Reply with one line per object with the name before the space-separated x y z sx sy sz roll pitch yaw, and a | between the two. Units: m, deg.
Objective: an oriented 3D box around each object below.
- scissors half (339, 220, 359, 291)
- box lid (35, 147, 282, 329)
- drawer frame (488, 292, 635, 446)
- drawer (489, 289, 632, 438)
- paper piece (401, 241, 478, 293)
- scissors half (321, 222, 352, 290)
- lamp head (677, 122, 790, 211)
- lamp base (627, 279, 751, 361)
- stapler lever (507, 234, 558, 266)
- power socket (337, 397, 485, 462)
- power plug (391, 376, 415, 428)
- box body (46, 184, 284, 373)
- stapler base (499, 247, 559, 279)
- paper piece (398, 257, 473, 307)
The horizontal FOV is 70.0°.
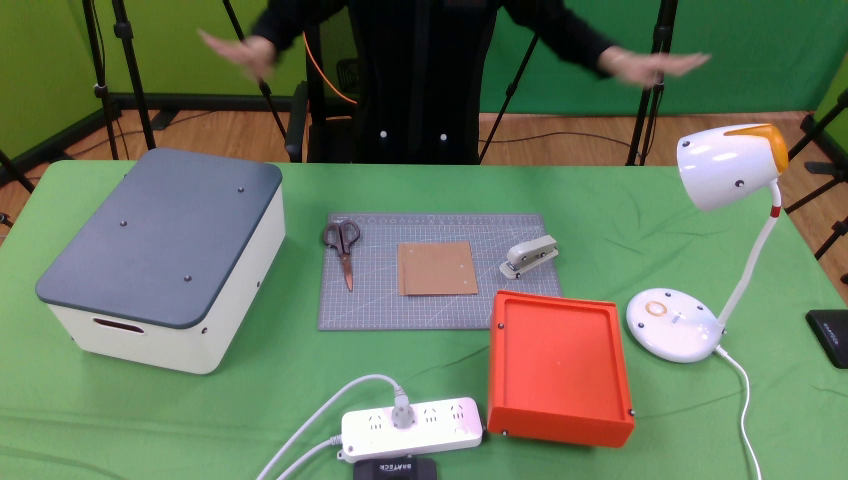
scissors half | -0.144 0.026 1.162 0.040 0.013 0.174 -6 50 1
box lid | -0.411 -0.023 0.987 0.263 0.015 0.369 10 47 5
drawer frame | 0.204 0.191 0.931 0.202 0.083 0.212 7 45 2
drawer | 0.203 0.185 0.934 0.194 0.073 0.210 7 47 1
paper piece | 0.028 0.051 1.156 0.136 0.009 0.137 2 44 -8
scissors half | -0.163 0.030 1.159 0.040 0.013 0.174 -16 51 -14
lamp head | 0.423 -0.104 0.819 0.122 0.113 0.112 -13 33 40
lamp base | 0.460 0.100 1.027 0.178 0.181 0.160 27 51 17
stapler lever | 0.209 0.015 1.161 0.118 0.040 0.026 -25 56 -27
power socket | -0.018 0.285 0.915 0.227 0.033 0.071 -4 46 -8
power plug | -0.030 0.249 0.917 0.035 0.053 0.072 3 46 0
box body | -0.414 0.029 1.040 0.254 0.161 0.362 10 46 5
stapler base | 0.206 0.033 1.178 0.130 0.024 0.041 -24 56 -27
paper piece | 0.025 0.065 1.156 0.135 0.004 0.135 12 44 -2
